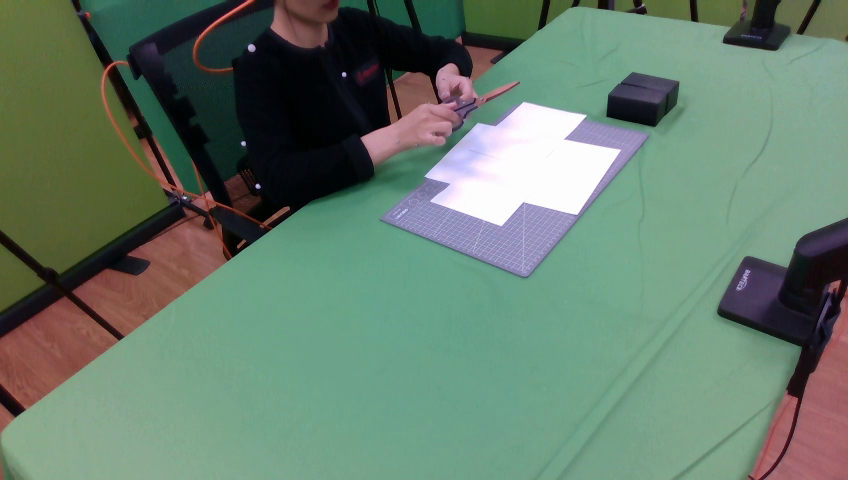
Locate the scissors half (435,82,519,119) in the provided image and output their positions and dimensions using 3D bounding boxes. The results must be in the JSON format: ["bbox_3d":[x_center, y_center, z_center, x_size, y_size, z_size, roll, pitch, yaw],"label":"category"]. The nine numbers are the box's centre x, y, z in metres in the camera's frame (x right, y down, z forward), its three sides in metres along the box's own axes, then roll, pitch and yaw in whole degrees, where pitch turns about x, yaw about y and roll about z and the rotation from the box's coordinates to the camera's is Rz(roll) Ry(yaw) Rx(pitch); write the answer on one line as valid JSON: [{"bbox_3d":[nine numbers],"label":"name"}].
[{"bbox_3d":[0.095,-0.262,1.111,0.174,0.013,0.040,-13,68,31],"label":"scissors half"}]

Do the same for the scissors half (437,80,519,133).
[{"bbox_3d":[0.097,-0.244,1.102,0.174,0.013,0.040,-30,55,23],"label":"scissors half"}]
